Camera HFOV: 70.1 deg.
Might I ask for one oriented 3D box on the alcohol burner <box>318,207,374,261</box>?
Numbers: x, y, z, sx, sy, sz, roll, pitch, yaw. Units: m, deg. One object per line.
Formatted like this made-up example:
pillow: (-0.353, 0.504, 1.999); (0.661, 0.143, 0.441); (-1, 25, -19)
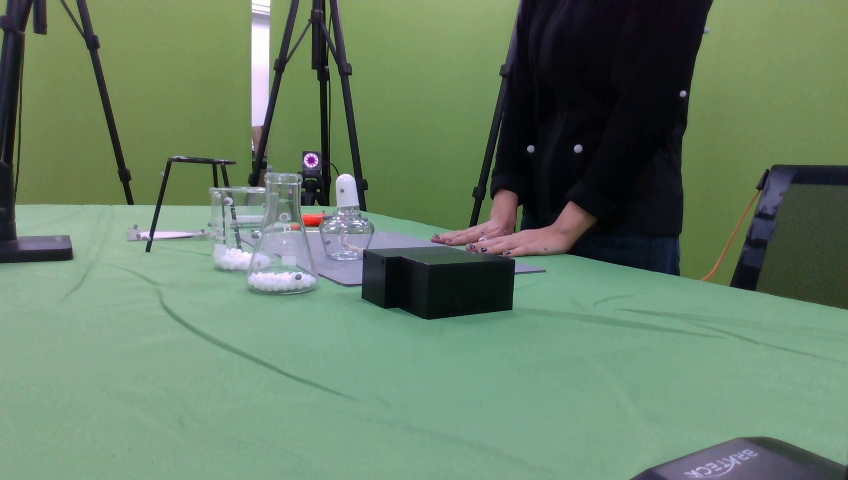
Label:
alcohol burner: (-0.107, -0.032, 0.833); (0.078, 0.119, 0.078); (1, 6, 0)

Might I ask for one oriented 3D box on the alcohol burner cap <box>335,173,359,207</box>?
alcohol burner cap: (-0.108, -0.068, 0.829); (0.034, 0.048, 0.034); (-7, 4, 1)

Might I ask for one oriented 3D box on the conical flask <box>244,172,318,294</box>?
conical flask: (-0.147, -0.009, 0.628); (0.075, 0.122, 0.075); (2, 7, 0)

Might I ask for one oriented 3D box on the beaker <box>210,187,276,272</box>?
beaker: (-0.224, -0.014, 0.738); (0.084, 0.100, 0.074); (4, 7, 16)

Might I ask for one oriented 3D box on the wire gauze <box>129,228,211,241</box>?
wire gauze: (-0.419, -0.010, 0.999); (0.122, 0.011, 0.124); (0, 6, -25)

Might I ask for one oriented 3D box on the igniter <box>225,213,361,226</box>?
igniter: (-0.257, -0.042, 1.221); (0.278, 0.025, 0.057); (-2, -2, -32)

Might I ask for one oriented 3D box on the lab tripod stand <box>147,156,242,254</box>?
lab tripod stand: (-0.310, -0.050, 0.858); (0.148, 0.131, 0.148); (4, 6, 0)

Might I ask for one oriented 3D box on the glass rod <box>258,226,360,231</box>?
glass rod: (-0.215, -0.022, 1.151); (0.201, 0.008, 0.008); (-2, 8, -27)
